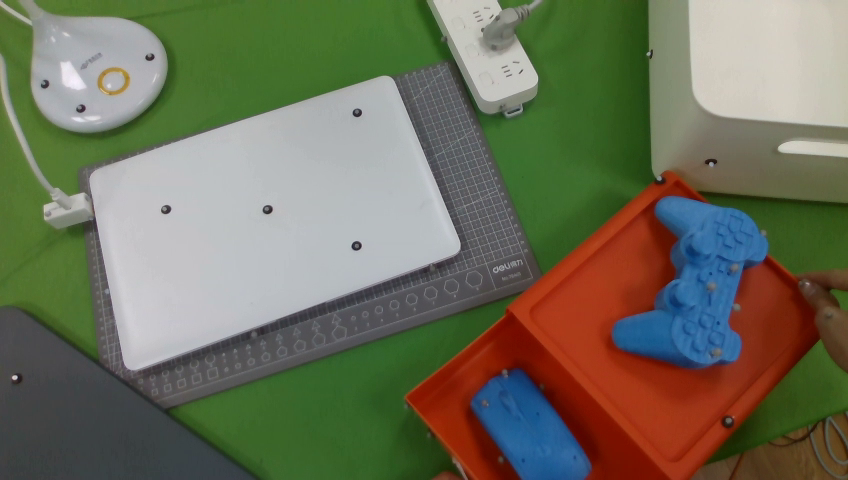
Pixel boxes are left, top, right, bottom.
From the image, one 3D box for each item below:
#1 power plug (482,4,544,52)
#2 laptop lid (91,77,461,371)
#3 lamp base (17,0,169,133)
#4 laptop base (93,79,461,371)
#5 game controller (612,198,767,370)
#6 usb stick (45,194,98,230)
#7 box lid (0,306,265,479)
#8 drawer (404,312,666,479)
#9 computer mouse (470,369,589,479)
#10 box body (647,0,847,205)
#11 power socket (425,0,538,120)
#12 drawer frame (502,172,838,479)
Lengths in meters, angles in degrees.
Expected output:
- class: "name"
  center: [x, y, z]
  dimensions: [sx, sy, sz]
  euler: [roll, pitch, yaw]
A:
- class: "power plug"
  center: [0.102, -0.233, 0.690]
  dimensions: [0.072, 0.053, 0.035]
  euler: [-10, 67, -2]
- class: "laptop lid"
  center: [-0.163, -0.029, 0.641]
  dimensions: [0.357, 0.013, 0.240]
  euler: [-18, 71, -4]
- class: "lamp base"
  center: [-0.402, -0.233, 0.659]
  dimensions: [0.178, 0.181, 0.160]
  euler: [29, 72, 16]
- class: "laptop base"
  center: [-0.163, -0.027, 0.653]
  dimensions: [0.354, 0.023, 0.234]
  euler: [-20, 73, -5]
- class: "game controller"
  center: [0.232, 0.036, 0.520]
  dimensions: [0.097, 0.052, 0.154]
  euler: [23, 72, 8]
- class: "usb stick"
  center: [-0.371, -0.032, 0.651]
  dimensions: [0.059, 0.027, 0.021]
  euler: [-15, 63, -7]
- class: "box lid"
  center: [-0.353, 0.247, 0.559]
  dimensions: [0.370, 0.015, 0.262]
  euler: [29, 73, 13]
- class: "drawer"
  center: [0.123, 0.154, 0.537]
  dimensions: [0.211, 0.074, 0.193]
  euler: [-38, 71, -12]
- class: "computer mouse"
  center: [0.093, 0.175, 0.545]
  dimensions: [0.063, 0.041, 0.116]
  euler: [-32, 67, -6]
- class: "box body"
  center: [0.374, -0.227, 0.628]
  dimensions: [0.254, 0.161, 0.361]
  euler: [5, 69, 5]
- class: "power socket"
  center: [0.064, -0.242, 0.720]
  dimensions: [0.072, 0.033, 0.225]
  euler: [-20, 69, -7]
- class: "drawer frame"
  center: [0.215, 0.078, 0.559]
  dimensions: [0.213, 0.083, 0.200]
  euler: [-39, 71, -12]
